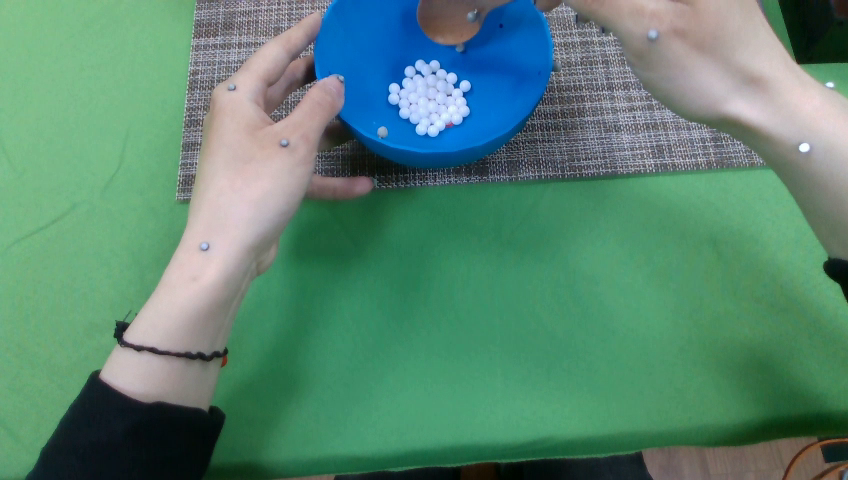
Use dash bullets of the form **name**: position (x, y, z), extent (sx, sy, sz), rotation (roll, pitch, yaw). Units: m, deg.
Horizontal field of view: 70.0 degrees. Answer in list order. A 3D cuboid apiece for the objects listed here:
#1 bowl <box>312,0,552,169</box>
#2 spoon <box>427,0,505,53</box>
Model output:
- **bowl**: position (0.006, -0.105, 0.413), extent (0.151, 0.077, 0.150), rotation (0, 69, 1)
- **spoon**: position (0.046, -0.135, 0.334), extent (0.022, 0.192, 0.042), rotation (-2, 99, -21)
